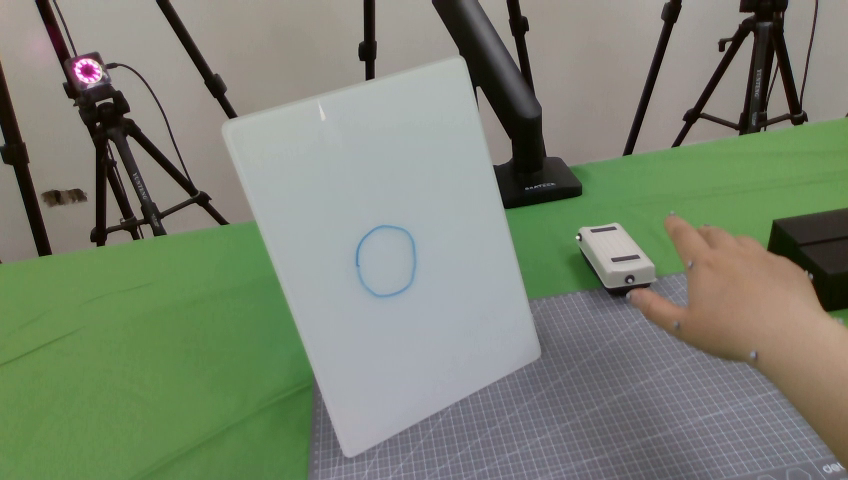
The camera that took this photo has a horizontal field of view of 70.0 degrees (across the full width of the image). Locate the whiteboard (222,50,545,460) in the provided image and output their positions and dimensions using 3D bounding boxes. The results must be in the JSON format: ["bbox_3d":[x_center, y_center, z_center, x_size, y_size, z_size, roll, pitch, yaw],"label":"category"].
[{"bbox_3d":[-0.042,0.004,0.587,0.217,0.307,0.143,-22,16,-20],"label":"whiteboard"}]

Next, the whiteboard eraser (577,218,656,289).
[{"bbox_3d":[0.220,0.016,0.701,0.055,0.042,0.111,-11,29,0],"label":"whiteboard eraser"}]

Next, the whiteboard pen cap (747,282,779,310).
[{"bbox_3d":[0.352,0.058,0.627,0.018,0.018,0.033,-11,30,-4],"label":"whiteboard pen cap"}]

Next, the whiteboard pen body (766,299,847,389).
[{"bbox_3d":[0.361,0.089,0.579,0.017,0.017,0.139,-11,32,-3],"label":"whiteboard pen body"}]
